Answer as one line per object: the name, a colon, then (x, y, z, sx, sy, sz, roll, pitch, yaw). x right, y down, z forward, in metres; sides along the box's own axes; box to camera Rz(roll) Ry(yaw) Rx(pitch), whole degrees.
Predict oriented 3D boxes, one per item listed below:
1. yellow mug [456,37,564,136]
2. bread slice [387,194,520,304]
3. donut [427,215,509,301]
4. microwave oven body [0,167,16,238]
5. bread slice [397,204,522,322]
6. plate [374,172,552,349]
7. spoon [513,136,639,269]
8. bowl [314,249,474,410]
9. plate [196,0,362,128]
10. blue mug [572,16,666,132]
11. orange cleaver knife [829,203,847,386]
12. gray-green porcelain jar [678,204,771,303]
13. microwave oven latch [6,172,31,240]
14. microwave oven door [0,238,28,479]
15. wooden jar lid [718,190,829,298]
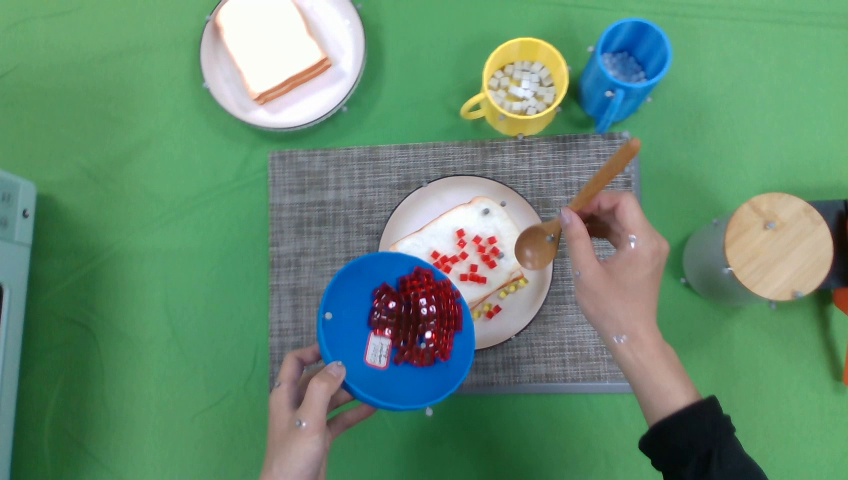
yellow mug: (0.100, -0.179, 0.734, 0.131, 0.064, 0.099, -23, 81, 0)
bread slice: (0.039, 0.014, 0.657, 0.134, 0.018, 0.107, -37, 89, -12)
donut: (0.052, 0.021, 0.691, 0.099, 0.048, 0.098, 2, 82, -15)
microwave oven body: (-0.646, 0.120, 0.611, 0.326, 0.261, 0.440, 0, 82, 2)
bread slice: (0.036, 0.034, 0.717, 0.131, 0.019, 0.104, -34, 81, -4)
plate: (0.045, 0.024, 0.716, 0.209, 0.038, 0.208, 0, 82, 2)
spoon: (0.127, -0.026, 0.524, 0.021, 0.194, 0.041, -32, 76, -28)
bowl: (-0.037, 0.092, 0.568, 0.152, 0.077, 0.150, 13, 58, -21)
plate: (-0.179, -0.237, 0.765, 0.207, 0.039, 0.207, 0, 82, 2)
blue mug: (0.220, -0.183, 0.711, 0.082, 0.106, 0.116, 19, 83, 5)
orange cleaver knife: (0.479, 0.060, 0.678, 0.012, 0.077, 0.212, -4, 108, 2)
gray-green porcelain jar: (0.349, 0.015, 0.667, 0.106, 0.127, 0.105, 0, 81, 2)
microwave oven latch: (-0.495, -0.041, 0.727, 0.030, 0.029, 0.079, 3, 82, 2)
microwave oven door: (-0.501, 0.160, 0.596, 0.039, 0.244, 0.354, -1, 81, 2)
wooden jar lid: (0.346, 0.005, 0.605, 0.108, 0.021, 0.108, 0, 84, 0)
